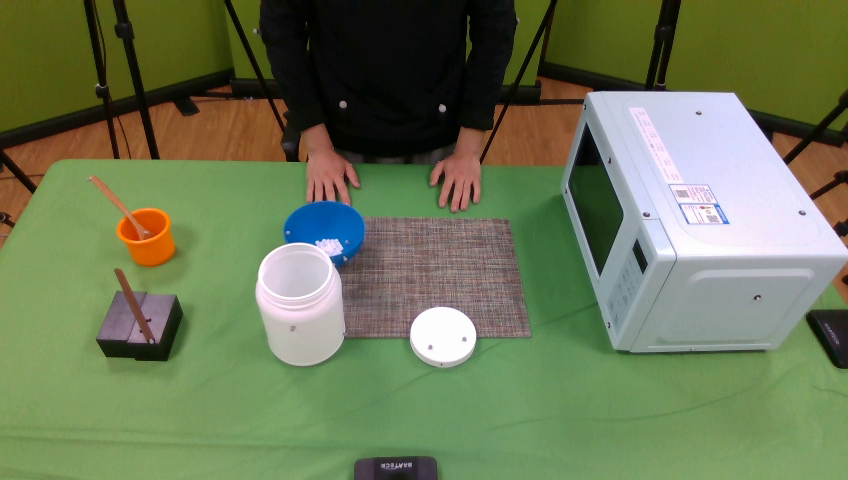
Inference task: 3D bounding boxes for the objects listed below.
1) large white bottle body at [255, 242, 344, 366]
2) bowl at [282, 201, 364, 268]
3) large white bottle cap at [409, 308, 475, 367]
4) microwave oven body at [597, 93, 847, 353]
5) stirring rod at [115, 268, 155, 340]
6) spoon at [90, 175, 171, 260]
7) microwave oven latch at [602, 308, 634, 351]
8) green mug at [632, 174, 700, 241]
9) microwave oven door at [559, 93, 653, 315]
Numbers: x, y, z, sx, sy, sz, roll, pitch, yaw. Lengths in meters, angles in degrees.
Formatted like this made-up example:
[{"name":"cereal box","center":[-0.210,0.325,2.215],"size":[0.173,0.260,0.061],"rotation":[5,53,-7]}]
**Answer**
[{"name":"large white bottle body","center":[-0.196,0.102,0.967],"size":[0.131,0.185,0.130],"rotation":[2,49,-2]},{"name":"bowl","center":[-0.187,0.005,1.137],"size":[0.151,0.077,0.150],"rotation":[3,46,-3]},{"name":"large white bottle cap","center":[0.031,0.166,1.041],"size":[0.115,0.018,0.114],"rotation":[2,46,-2]},{"name":"microwave oven body","center":[0.475,-0.041,1.110],"size":[0.326,0.261,0.438],"rotation":[-1,45,-4]},{"name":"stirring rod","center":[-0.478,0.103,0.999],"size":[0.014,0.006,0.175],"rotation":[7,32,-49]},{"name":"spoon","center":[-0.539,-0.042,1.111],"size":[0.021,0.194,0.041],"rotation":[-13,27,52]},{"name":"microwave oven latch","center":[0.332,0.153,1.044],"size":[0.030,0.029,0.078],"rotation":[-1,45,-4]},{"name":"green mug","center":[0.456,-0.057,1.154],"size":[0.125,0.105,0.092],"rotation":[-14,45,-10]},{"name":"microwave oven door","center":[0.327,-0.074,1.123],"size":[0.039,0.245,0.353],"rotation":[-1,46,-5]}]
